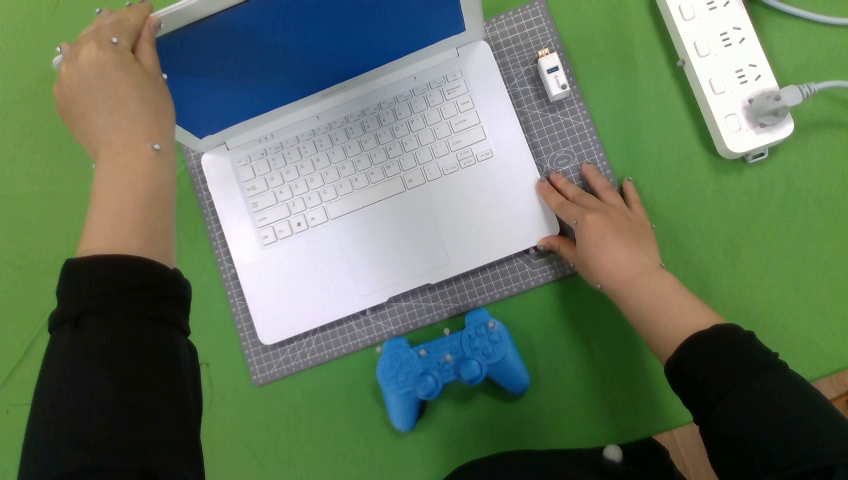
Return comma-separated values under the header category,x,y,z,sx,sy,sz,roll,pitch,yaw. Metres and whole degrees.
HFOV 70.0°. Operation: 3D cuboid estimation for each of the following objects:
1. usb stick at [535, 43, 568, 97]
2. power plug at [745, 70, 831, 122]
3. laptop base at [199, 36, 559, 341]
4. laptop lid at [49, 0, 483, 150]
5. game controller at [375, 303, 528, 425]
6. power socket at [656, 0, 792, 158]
category,x,y,z,sx,sy,sz,roll,pitch,yaw
usb stick,0.134,-0.186,0.650,0.021,0.027,0.059,-21,80,8
power plug,0.355,-0.137,0.596,0.072,0.053,0.035,-8,83,3
laptop base,-0.057,-0.056,0.672,0.354,0.023,0.235,-21,86,5
laptop lid,-0.118,-0.184,0.571,0.356,0.243,0.013,-21,79,7
game controller,0.023,0.128,0.633,0.155,0.052,0.096,-20,78,5
power socket,0.306,-0.195,0.627,0.072,0.033,0.226,-19,83,7
